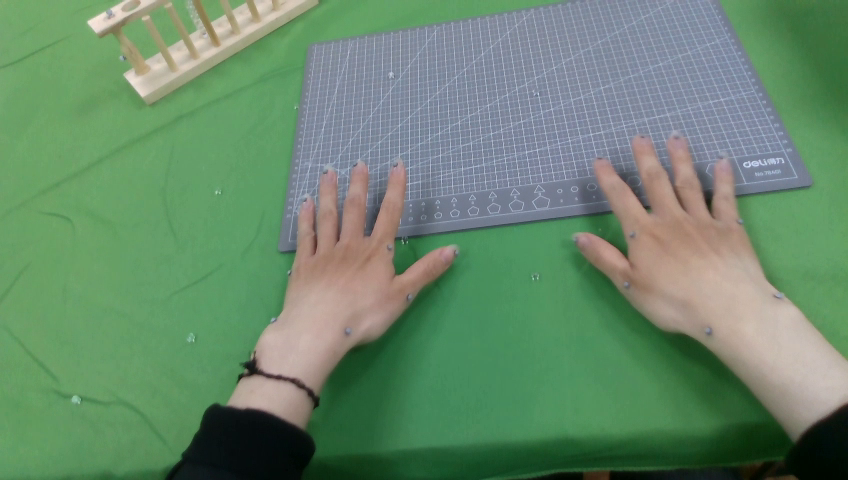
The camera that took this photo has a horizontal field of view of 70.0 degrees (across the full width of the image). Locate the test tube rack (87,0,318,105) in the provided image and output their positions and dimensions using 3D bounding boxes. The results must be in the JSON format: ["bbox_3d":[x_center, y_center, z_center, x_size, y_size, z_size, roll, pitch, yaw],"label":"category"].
[{"bbox_3d":[-0.253,-0.269,0.715,0.242,0.086,0.066,-37,56,-15],"label":"test tube rack"}]

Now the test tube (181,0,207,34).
[{"bbox_3d":[-0.281,-0.302,0.683,0.017,0.152,0.017,-6,48,8],"label":"test tube"}]
